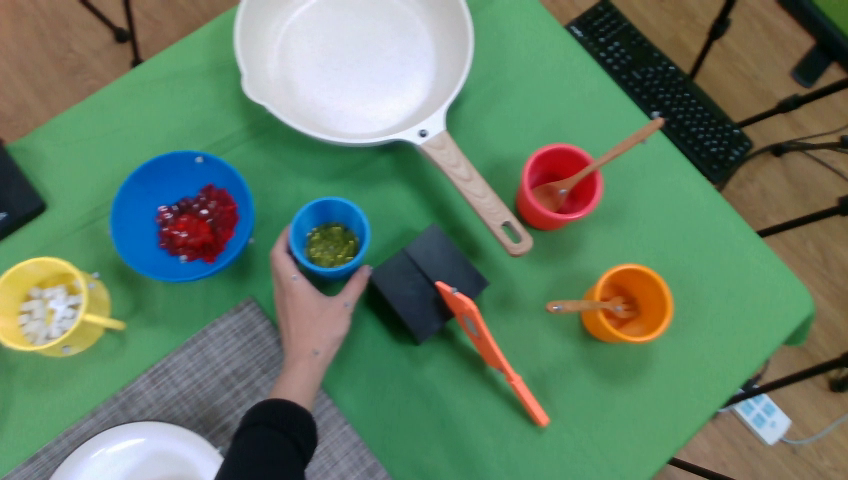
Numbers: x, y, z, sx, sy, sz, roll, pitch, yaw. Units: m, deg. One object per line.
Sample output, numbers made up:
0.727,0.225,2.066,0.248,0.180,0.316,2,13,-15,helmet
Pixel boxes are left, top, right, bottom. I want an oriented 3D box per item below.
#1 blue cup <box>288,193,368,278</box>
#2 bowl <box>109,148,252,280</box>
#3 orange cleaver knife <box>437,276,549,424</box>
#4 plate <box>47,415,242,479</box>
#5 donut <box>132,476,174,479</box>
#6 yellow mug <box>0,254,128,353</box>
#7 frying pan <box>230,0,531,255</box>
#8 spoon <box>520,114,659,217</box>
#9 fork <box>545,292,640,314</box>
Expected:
-0.109,0.004,0.694,0.093,0.100,0.092,2,74,-7,blue cup
-0.268,-0.021,0.697,0.151,0.077,0.150,2,76,-6,bowl
0.078,0.126,0.691,0.012,0.076,0.213,-39,111,-14,orange cleaver knife
-0.289,0.289,0.630,0.209,0.038,0.208,2,76,-5,plate
-0.282,0.291,0.618,0.099,0.048,0.098,1,79,-6,donut
-0.392,0.075,0.665,0.131,0.064,0.099,14,74,-3,yellow mug
-0.032,-0.171,0.746,0.307,0.103,0.484,-33,73,-12,frying pan
0.195,-0.088,0.726,0.194,0.022,0.041,-36,77,31,spoon
0.194,0.070,0.682,0.209,0.018,0.028,7,68,-49,fork
